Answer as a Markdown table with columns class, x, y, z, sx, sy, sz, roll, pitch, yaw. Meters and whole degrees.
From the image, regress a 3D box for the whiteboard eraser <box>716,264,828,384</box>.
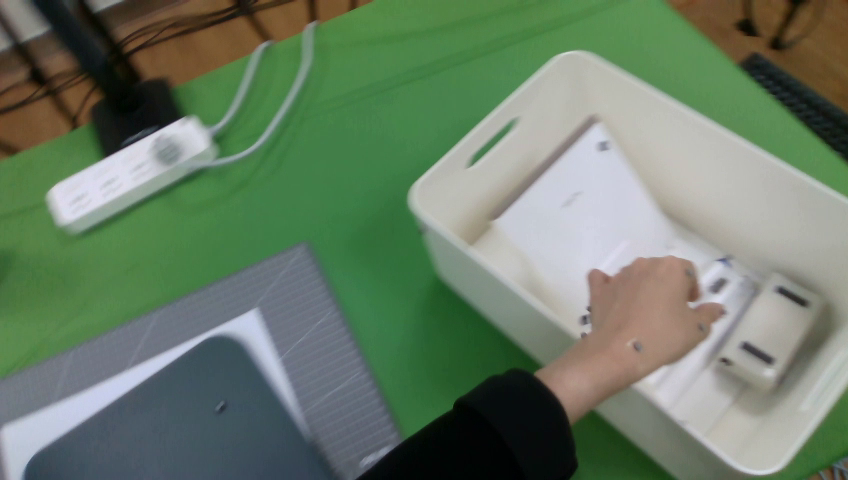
| class | x | y | z | sx | sy | sz | roll | pitch | yaw |
| --- | --- | --- | --- | --- | --- | --- | --- | --- | --- |
| whiteboard eraser | 0.337 | 0.081 | 0.586 | 0.055 | 0.042 | 0.112 | 33 | 72 | 29 |

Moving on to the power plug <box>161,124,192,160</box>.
| class | x | y | z | sx | sy | sz | roll | pitch | yaw |
| --- | --- | --- | --- | --- | --- | --- | --- | --- | --- |
| power plug | -0.307 | -0.114 | 0.760 | 0.035 | 0.053 | 0.072 | -21 | 68 | -5 |

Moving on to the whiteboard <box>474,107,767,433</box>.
| class | x | y | z | sx | sy | sz | roll | pitch | yaw |
| --- | --- | --- | --- | --- | --- | --- | --- | --- | --- |
| whiteboard | 0.204 | 0.011 | 0.598 | 0.217 | 0.145 | 0.303 | -42 | 64 | -16 |

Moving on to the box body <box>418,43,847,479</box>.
| class | x | y | z | sx | sy | sz | roll | pitch | yaw |
| --- | --- | --- | --- | --- | --- | --- | --- | --- | --- |
| box body | 0.206 | 0.016 | 0.584 | 0.254 | 0.162 | 0.361 | -42 | 65 | -15 |

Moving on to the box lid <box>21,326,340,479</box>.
| class | x | y | z | sx | sy | sz | roll | pitch | yaw |
| --- | --- | --- | --- | --- | --- | --- | --- | --- | --- |
| box lid | -0.209 | 0.280 | 0.576 | 0.263 | 0.015 | 0.368 | -35 | 65 | -12 |

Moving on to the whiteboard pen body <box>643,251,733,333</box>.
| class | x | y | z | sx | sy | sz | roll | pitch | yaw |
| --- | --- | --- | --- | --- | --- | --- | --- | --- | --- |
| whiteboard pen body | 0.252 | 0.059 | 0.596 | 0.141 | 0.017 | 0.017 | -39 | 64 | -10 |

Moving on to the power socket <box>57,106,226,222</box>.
| class | x | y | z | sx | sy | sz | roll | pitch | yaw |
| --- | --- | --- | --- | --- | --- | --- | --- | --- | --- |
| power socket | -0.364 | -0.100 | 0.785 | 0.227 | 0.033 | 0.071 | -30 | 64 | -10 |

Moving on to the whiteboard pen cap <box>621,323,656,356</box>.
| class | x | y | z | sx | sy | sz | roll | pitch | yaw |
| --- | --- | --- | --- | --- | --- | --- | --- | --- | --- |
| whiteboard pen cap | 0.208 | 0.096 | 0.585 | 0.033 | 0.018 | 0.018 | -39 | 64 | -11 |
